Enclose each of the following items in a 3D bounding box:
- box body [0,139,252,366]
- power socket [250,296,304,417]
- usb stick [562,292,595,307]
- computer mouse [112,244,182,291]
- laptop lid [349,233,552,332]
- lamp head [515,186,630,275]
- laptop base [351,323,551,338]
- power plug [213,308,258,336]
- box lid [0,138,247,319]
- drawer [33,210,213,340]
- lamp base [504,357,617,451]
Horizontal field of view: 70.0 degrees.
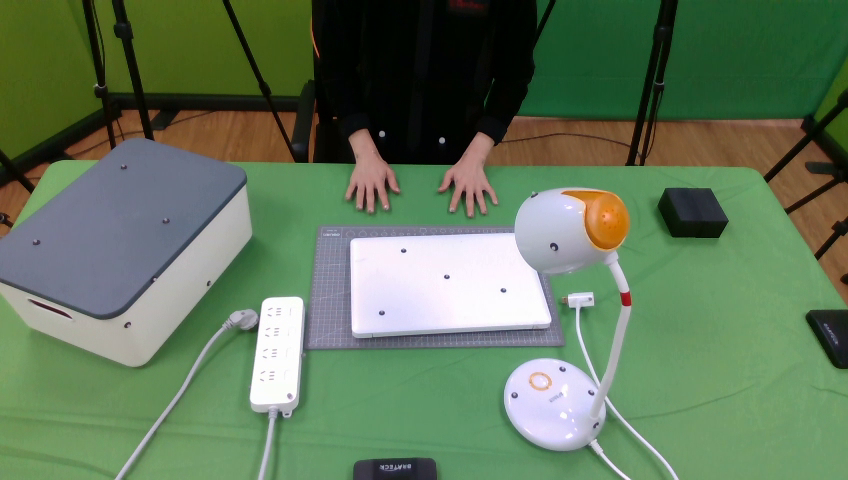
[{"bbox_3d":[-0.496,0.013,1.048,0.254,0.161,0.362,17,47,12],"label":"box body"},{"bbox_3d":[-0.239,0.182,0.997,0.072,0.033,0.225,-2,47,-4],"label":"power socket"},{"bbox_3d":[0.280,0.109,1.104,0.059,0.021,0.027,-6,12,23],"label":"usb stick"},{"bbox_3d":[-0.492,0.046,1.078,0.117,0.041,0.062,24,41,13],"label":"computer mouse"},{"bbox_3d":[0.040,0.070,1.119,0.357,0.013,0.240,-1,44,-5],"label":"laptop lid"},{"bbox_3d":[0.188,-0.013,0.728,0.112,0.112,0.122,-25,9,-25],"label":"lamp head"},{"bbox_3d":[0.039,0.080,1.126,0.355,0.023,0.234,-2,43,-6],"label":"laptop base"},{"bbox_3d":[-0.317,0.141,1.025,0.072,0.053,0.035,-27,55,-7],"label":"power plug"},{"bbox_3d":[-0.494,-0.037,0.994,0.263,0.015,0.370,17,46,12],"label":"box lid"},{"bbox_3d":[-0.509,0.055,1.046,0.194,0.073,0.211,15,43,11],"label":"drawer"},{"bbox_3d":[0.220,0.211,0.903,0.160,0.181,0.178,-32,59,-30],"label":"lamp base"}]
